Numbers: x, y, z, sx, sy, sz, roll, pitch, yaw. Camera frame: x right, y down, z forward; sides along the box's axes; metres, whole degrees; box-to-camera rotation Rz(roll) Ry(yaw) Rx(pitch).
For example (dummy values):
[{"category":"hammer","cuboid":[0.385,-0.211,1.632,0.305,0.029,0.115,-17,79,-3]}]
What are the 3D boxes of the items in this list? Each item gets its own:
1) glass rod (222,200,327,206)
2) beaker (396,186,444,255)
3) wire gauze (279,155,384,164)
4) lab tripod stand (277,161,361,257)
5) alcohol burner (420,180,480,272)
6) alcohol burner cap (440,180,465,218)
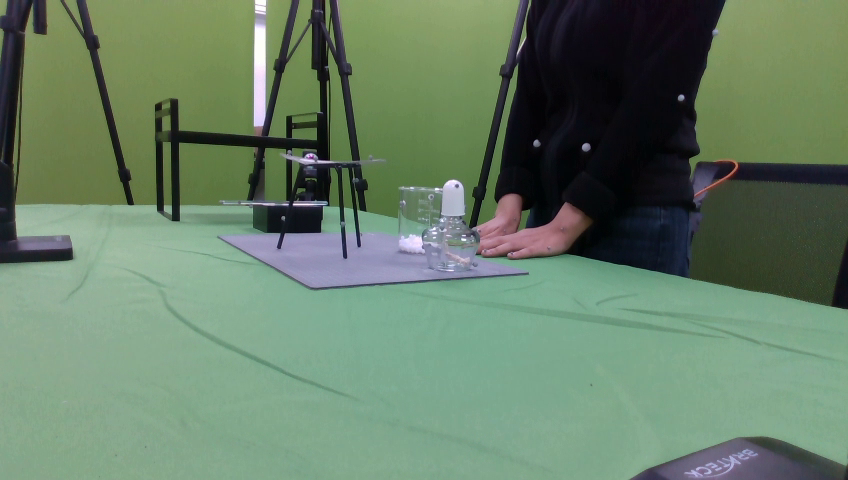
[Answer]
[{"category":"glass rod","cuboid":[-0.276,-0.069,1.134,0.201,0.008,0.008,-1,8,-33]},{"category":"beaker","cuboid":[-0.004,-0.030,0.921,0.083,0.100,0.074,8,9,31]},{"category":"wire gauze","cuboid":[-0.134,-0.114,0.875,0.122,0.011,0.124,-1,9,-30]},{"category":"lab tripod stand","cuboid":[-0.143,-0.049,0.884,0.148,0.131,0.148,1,9,0]},{"category":"alcohol burner","cuboid":[0.035,-0.018,0.785,0.078,0.119,0.078,4,6,0]},{"category":"alcohol burner cap","cuboid":[0.038,-0.054,0.781,0.034,0.048,0.034,0,13,0]}]
